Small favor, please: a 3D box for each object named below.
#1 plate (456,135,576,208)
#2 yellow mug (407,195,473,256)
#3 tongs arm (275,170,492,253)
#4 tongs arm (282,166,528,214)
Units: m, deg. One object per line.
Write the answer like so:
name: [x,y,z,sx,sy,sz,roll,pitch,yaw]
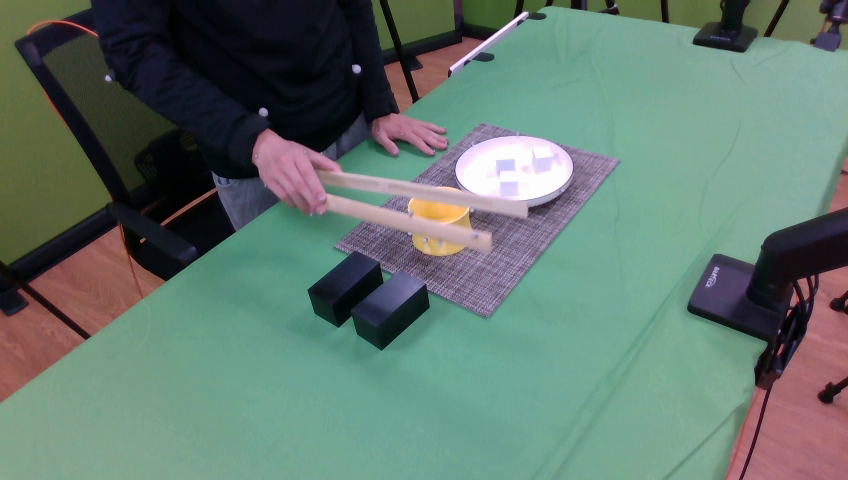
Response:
plate: [0.161,-0.116,1.064,0.207,0.039,0.206,-4,40,4]
yellow mug: [0.021,-0.041,0.973,0.100,0.064,0.129,-19,41,-12]
tongs arm: [-0.069,-0.046,0.828,0.382,0.026,0.051,14,36,29]
tongs arm: [-0.038,-0.074,0.874,0.385,0.028,0.028,10,38,23]
